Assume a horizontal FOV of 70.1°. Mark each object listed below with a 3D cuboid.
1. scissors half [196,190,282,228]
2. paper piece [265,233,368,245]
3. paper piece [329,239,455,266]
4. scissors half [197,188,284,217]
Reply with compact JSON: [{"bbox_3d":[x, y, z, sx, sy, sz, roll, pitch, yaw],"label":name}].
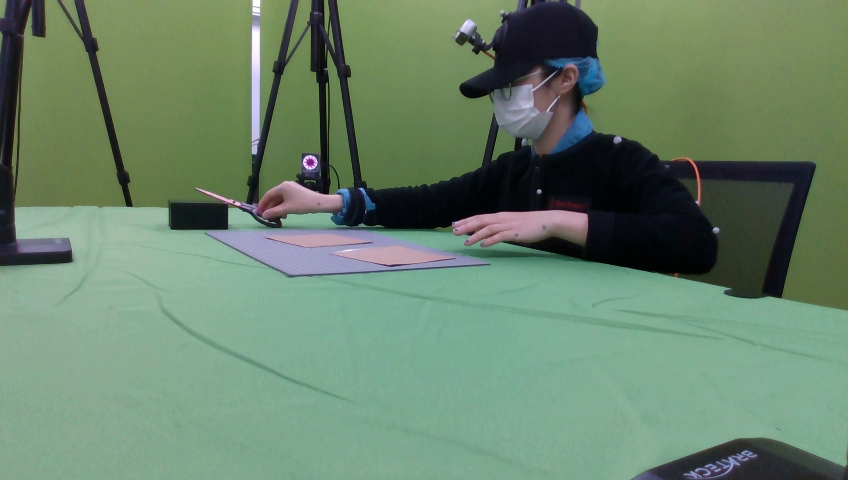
[{"bbox_3d":[-0.365,-0.063,1.199,0.176,0.013,0.040,24,37,-20],"label":"scissors half"},{"bbox_3d":[-0.180,-0.005,1.032,0.136,0.004,0.135,-3,9,-43],"label":"paper piece"},{"bbox_3d":[-0.047,0.018,0.892,0.137,0.008,0.137,12,16,44],"label":"paper piece"},{"bbox_3d":[-0.366,-0.078,1.212,0.176,0.040,0.013,14,-43,-31],"label":"scissors half"}]
